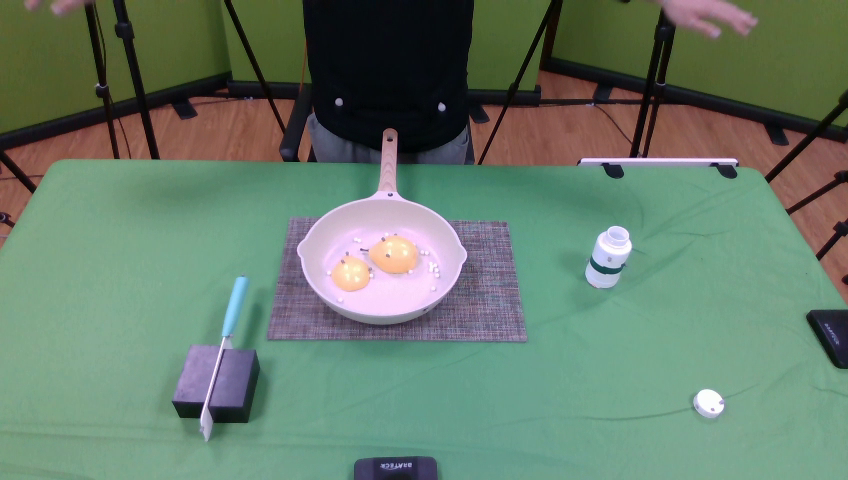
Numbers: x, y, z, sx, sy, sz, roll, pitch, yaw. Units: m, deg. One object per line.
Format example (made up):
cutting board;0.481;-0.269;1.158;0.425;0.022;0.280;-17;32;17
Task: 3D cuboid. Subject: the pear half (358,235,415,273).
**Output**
pear half;-0.074;0.017;1.146;0.110;0.056;0.076;9;41;7

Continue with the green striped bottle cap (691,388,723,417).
green striped bottle cap;0.459;0.263;0.984;0.044;0.020;0.044;3;45;-3

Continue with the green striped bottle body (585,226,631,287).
green striped bottle body;0.344;0.028;1.129;0.063;0.120;0.063;2;46;-2

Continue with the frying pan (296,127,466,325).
frying pan;-0.076;-0.045;1.172;0.307;0.103;0.485;3;55;-2

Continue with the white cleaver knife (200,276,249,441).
white cleaver knife;-0.321;0.177;0.971;0.021;0.066;0.284;7;48;-5

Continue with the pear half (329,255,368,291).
pear half;-0.140;0.053;1.122;0.070;0.031;0.087;-7;50;-17
